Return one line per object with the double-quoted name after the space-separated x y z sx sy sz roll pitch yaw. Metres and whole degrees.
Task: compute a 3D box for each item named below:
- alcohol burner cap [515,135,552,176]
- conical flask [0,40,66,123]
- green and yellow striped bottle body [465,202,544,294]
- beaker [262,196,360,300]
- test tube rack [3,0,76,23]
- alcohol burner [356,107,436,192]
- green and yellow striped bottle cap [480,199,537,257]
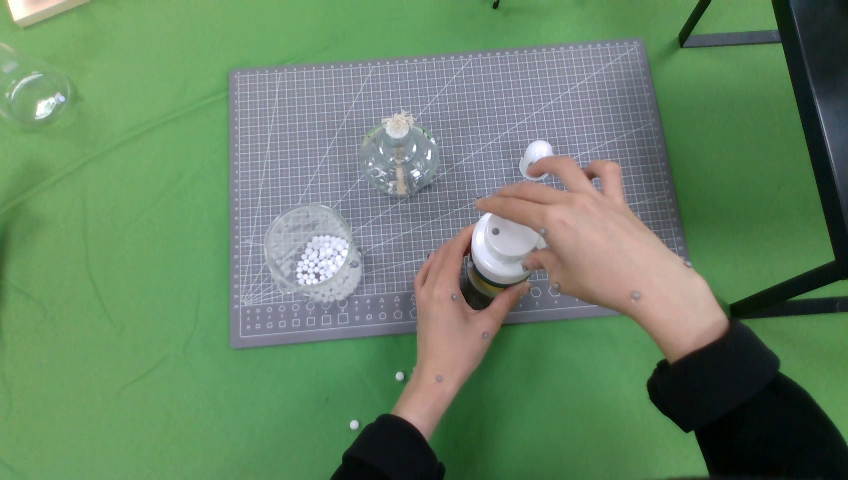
0.111 -0.087 0.605 0.034 0.048 0.033 0 75 0 "alcohol burner cap"
-0.417 -0.172 0.589 0.075 0.122 0.075 0 74 1 "conical flask"
0.070 0.006 0.539 0.063 0.120 0.063 0 74 1 "green and yellow striped bottle body"
-0.098 0.015 0.548 0.074 0.101 0.083 25 77 8 "beaker"
-0.357 -0.330 0.650 0.242 0.085 0.066 -25 76 -7 "test tube rack"
-0.027 -0.090 0.569 0.078 0.119 0.077 0 73 -1 "alcohol burner"
0.068 -0.010 0.487 0.045 0.020 0.045 1 82 -4 "green and yellow striped bottle cap"
